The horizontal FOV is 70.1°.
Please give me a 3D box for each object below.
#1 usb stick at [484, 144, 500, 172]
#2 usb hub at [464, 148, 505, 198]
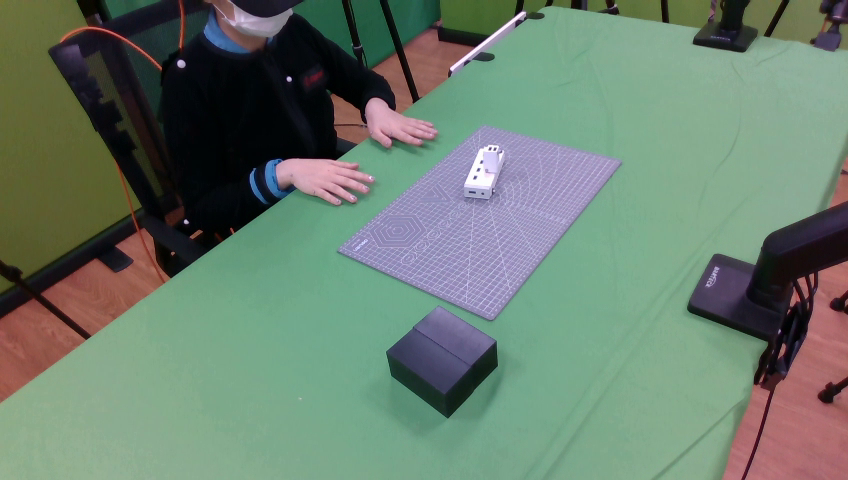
[{"bbox_3d":[0.119,-0.137,1.058,0.027,0.059,0.021,9,45,14],"label":"usb stick"},{"bbox_3d":[0.110,-0.121,1.087,0.049,0.025,0.125,8,43,16],"label":"usb hub"}]
